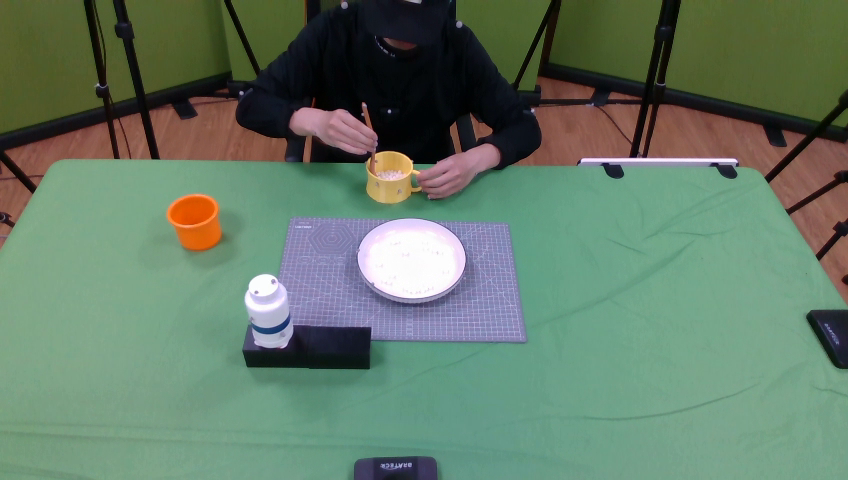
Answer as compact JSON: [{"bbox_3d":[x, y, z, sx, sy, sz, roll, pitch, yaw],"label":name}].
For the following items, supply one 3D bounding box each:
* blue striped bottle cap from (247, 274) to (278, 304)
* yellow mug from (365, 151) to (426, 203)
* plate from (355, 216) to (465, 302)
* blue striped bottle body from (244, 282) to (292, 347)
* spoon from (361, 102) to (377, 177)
[{"bbox_3d":[-0.239,0.072,0.900,0.044,0.021,0.044,4,46,-4],"label":"blue striped bottle cap"},{"bbox_3d":[-0.061,-0.133,1.291,0.131,0.064,0.099,9,46,3],"label":"yellow mug"},{"bbox_3d":[-0.027,0.039,1.144,0.208,0.039,0.206,2,46,-2],"label":"plate"},{"bbox_3d":[-0.241,0.108,0.937,0.063,0.121,0.062,2,46,-2],"label":"blue striped bottle body"},{"bbox_3d":[-0.108,-0.193,1.228,0.021,0.195,0.041,-8,39,-6],"label":"spoon"}]
